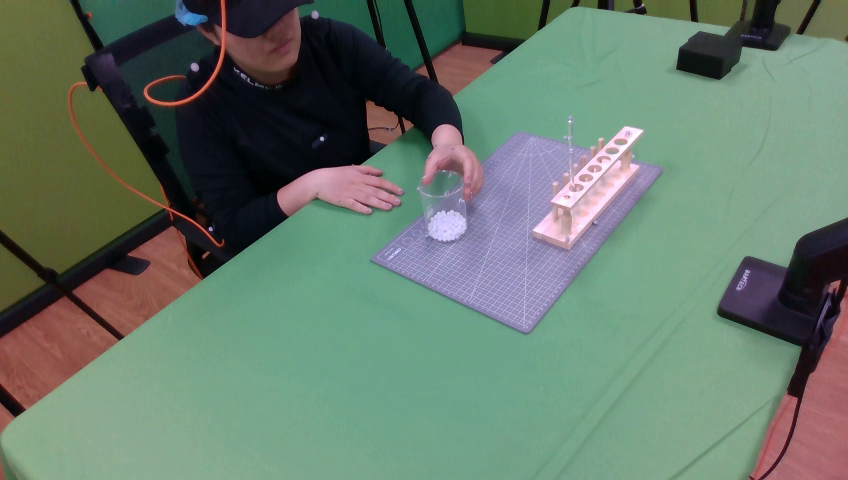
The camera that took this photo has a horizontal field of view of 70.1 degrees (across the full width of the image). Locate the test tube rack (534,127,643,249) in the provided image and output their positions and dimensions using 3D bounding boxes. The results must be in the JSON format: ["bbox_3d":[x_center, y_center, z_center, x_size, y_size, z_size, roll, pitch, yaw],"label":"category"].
[{"bbox_3d":[0.271,-0.094,0.989,0.066,0.085,0.243,23,50,34],"label":"test tube rack"}]

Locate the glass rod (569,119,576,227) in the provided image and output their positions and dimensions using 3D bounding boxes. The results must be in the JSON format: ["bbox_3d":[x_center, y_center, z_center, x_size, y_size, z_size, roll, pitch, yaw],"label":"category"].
[{"bbox_3d":[0.219,-0.093,0.893,0.008,0.201,0.008,-8,43,8],"label":"glass rod"}]

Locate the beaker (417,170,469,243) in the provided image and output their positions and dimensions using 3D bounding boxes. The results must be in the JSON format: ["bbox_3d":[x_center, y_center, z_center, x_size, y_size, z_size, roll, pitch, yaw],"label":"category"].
[{"bbox_3d":[0.034,-0.054,0.976,0.073,0.101,0.084,8,43,20],"label":"beaker"}]
